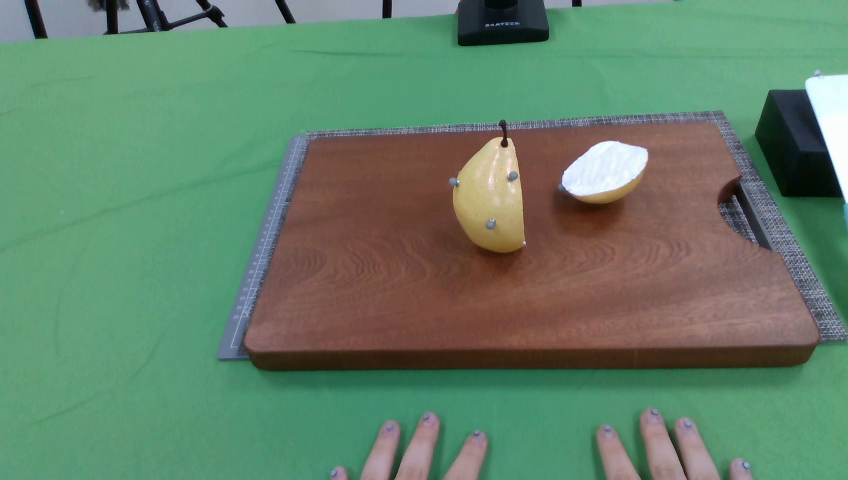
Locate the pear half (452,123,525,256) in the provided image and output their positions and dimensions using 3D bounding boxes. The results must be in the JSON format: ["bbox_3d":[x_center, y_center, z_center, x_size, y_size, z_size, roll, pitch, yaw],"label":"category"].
[{"bbox_3d":[0.049,-0.040,0.462,0.056,0.111,0.075,-8,40,-1],"label":"pear half"}]

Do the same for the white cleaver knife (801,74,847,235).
[{"bbox_3d":[0.360,-0.036,0.477,0.066,0.022,0.284,1,58,11],"label":"white cleaver knife"}]

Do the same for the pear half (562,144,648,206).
[{"bbox_3d":[0.155,-0.051,0.515,0.070,0.031,0.087,-7,28,22],"label":"pear half"}]
